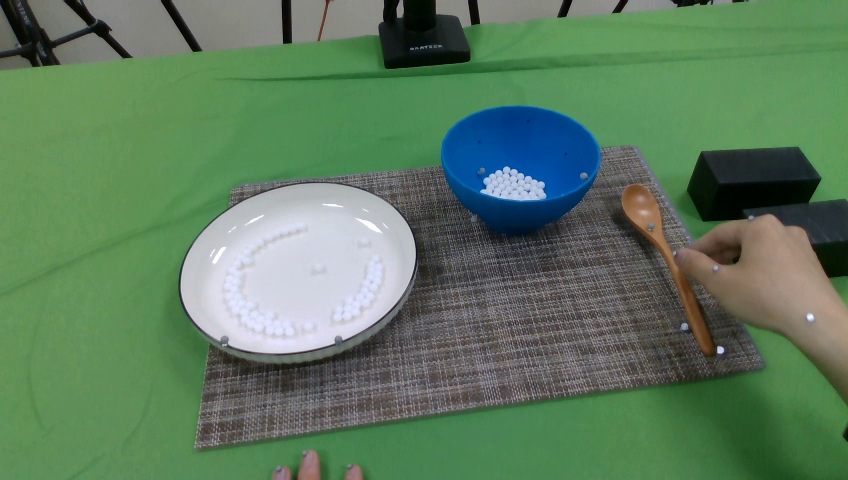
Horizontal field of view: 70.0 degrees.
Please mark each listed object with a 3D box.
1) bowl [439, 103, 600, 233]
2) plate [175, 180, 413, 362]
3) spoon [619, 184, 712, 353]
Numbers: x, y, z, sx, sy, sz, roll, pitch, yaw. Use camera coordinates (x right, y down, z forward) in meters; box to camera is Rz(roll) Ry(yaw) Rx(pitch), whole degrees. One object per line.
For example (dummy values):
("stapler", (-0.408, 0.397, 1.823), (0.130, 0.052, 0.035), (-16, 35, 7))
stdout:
("bowl", (0.090, -0.060, 0.595), (0.151, 0.077, 0.150), (-1, 46, 1))
("plate", (-0.113, 0.027, 0.548), (0.208, 0.039, 0.205), (-1, 46, 1))
("spoon", (0.220, 0.018, 0.553), (0.042, 0.022, 0.191), (9, 43, -16))
